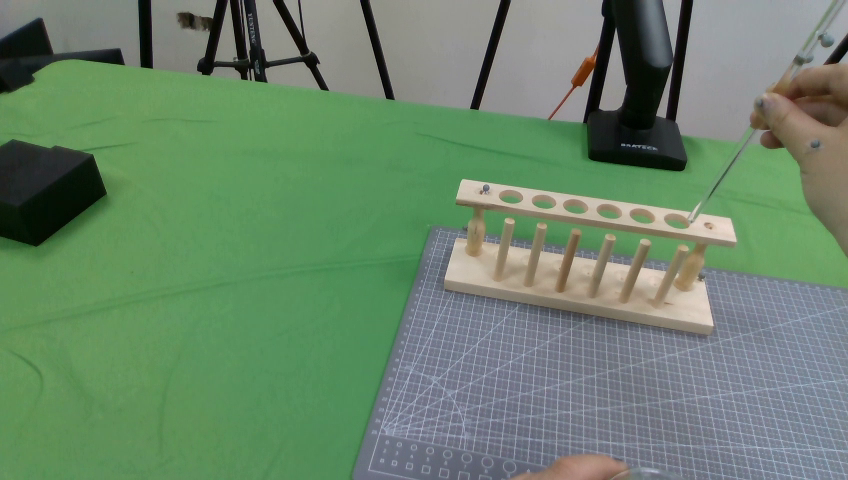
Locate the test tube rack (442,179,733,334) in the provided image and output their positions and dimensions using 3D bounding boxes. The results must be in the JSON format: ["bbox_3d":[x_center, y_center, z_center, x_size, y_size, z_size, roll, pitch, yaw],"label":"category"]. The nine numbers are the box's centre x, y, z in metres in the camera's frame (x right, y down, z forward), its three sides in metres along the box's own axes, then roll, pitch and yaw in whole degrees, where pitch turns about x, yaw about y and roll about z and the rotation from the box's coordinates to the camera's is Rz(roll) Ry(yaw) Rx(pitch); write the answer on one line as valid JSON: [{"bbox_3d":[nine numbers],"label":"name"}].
[{"bbox_3d":[0.143,0.013,0.556,0.242,0.086,0.066,9,40,7],"label":"test tube rack"}]

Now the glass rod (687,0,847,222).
[{"bbox_3d":[0.214,-0.073,0.391,0.008,0.201,0.008,2,54,-3],"label":"glass rod"}]

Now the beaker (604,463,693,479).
[{"bbox_3d":[0.108,0.179,0.322,0.084,0.101,0.073,0,41,-8],"label":"beaker"}]
